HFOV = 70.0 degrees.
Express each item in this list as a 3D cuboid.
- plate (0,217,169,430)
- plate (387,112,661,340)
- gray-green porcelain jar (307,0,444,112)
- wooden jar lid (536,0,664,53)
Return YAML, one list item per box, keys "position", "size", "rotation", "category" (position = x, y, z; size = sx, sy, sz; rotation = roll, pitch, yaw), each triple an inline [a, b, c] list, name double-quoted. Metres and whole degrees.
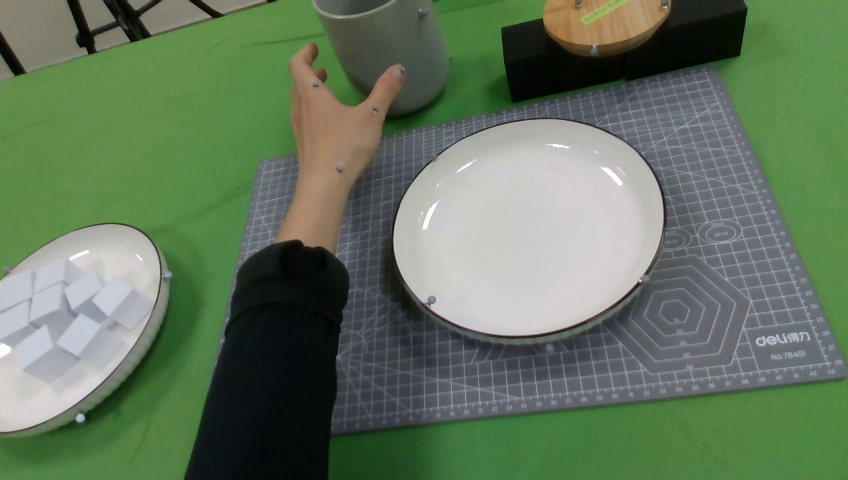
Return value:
- position: [-0.321, 0.072, 0.547]
  size: [0.207, 0.039, 0.205]
  rotation: [-9, 54, 12]
  category: "plate"
- position: [0.074, -0.013, 0.474]
  size: [0.209, 0.038, 0.207]
  rotation: [-9, 54, 13]
  category: "plate"
- position: [-0.041, -0.199, 0.591]
  size: [0.105, 0.128, 0.105]
  rotation: [-9, 53, 13]
  category: "gray-green porcelain jar"
- position: [0.154, -0.203, 0.533]
  size: [0.108, 0.021, 0.107]
  rotation: [-8, 55, 12]
  category: "wooden jar lid"
